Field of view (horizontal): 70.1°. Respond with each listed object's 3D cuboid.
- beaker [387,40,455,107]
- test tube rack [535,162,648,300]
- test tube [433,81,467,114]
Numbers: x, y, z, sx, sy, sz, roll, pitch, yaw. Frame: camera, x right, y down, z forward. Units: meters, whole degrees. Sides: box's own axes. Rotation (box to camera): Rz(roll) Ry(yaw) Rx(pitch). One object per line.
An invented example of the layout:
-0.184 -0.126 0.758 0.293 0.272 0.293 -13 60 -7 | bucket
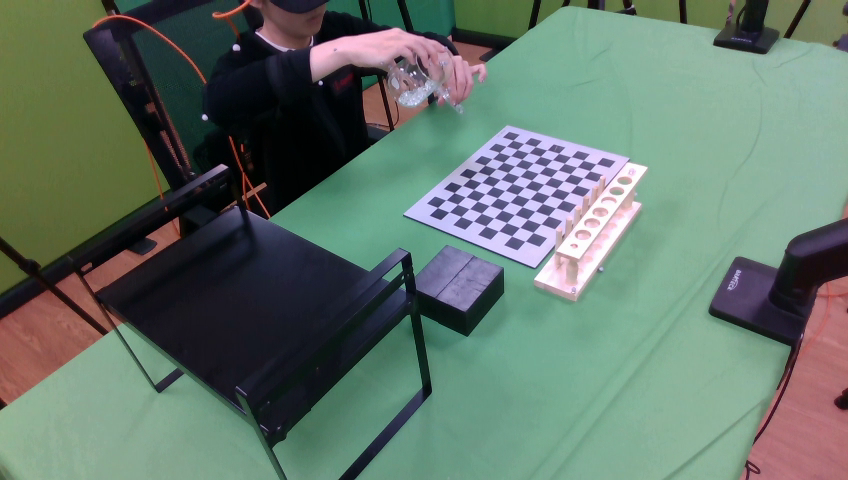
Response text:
-0.006 -0.265 0.981 0.073 0.084 0.100 16 47 28 | beaker
0.257 -0.024 0.916 0.066 0.085 0.243 22 49 30 | test tube rack
0.050 -0.258 1.103 0.017 0.151 0.017 -2 83 22 | test tube
